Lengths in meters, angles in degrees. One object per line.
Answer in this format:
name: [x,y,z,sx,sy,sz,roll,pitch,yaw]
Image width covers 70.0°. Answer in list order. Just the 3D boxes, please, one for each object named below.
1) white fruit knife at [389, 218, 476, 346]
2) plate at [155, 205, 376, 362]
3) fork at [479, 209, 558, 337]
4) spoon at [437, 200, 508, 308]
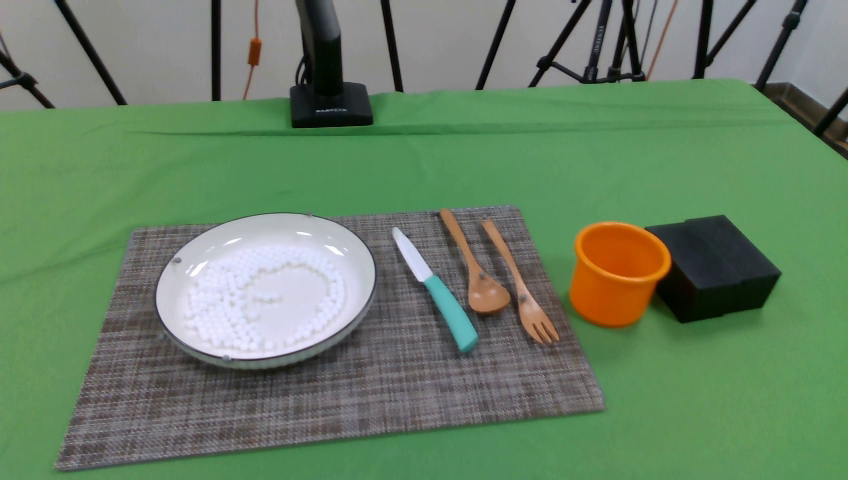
white fruit knife: [0.004,0.035,0.635,0.027,0.016,0.205,-3,38,-28]
plate: [-0.151,0.041,0.600,0.209,0.038,0.207,2,40,-1]
fork: [0.094,0.028,0.647,0.028,0.019,0.205,-13,44,-7]
spoon: [0.046,0.009,0.664,0.041,0.022,0.191,-20,44,-2]
